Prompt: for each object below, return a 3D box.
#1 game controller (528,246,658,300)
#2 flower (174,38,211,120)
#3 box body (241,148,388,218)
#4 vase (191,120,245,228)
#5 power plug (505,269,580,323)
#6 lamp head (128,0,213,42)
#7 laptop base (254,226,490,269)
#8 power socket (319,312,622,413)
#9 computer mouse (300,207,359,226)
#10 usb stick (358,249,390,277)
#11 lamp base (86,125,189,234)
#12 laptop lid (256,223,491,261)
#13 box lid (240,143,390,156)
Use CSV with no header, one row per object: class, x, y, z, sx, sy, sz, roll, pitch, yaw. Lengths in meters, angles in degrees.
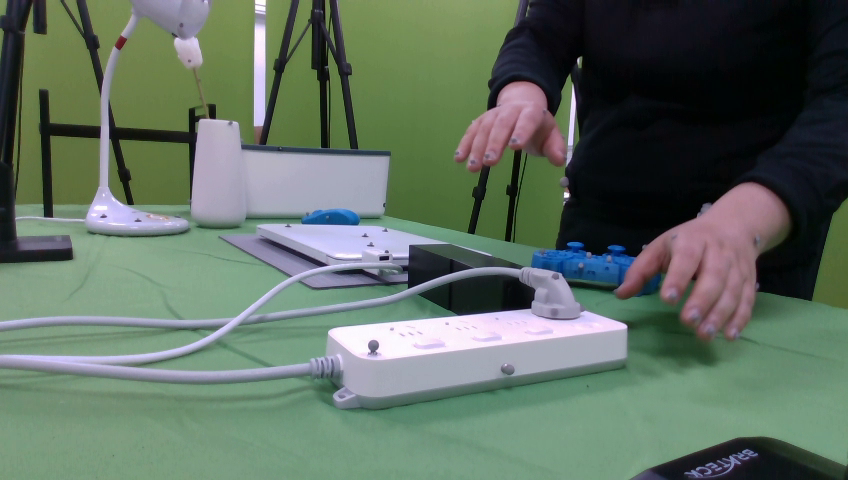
game controller,0.202,0.037,0.732,0.155,0.051,0.097,5,9,20
flower,-0.401,-0.207,1.141,0.038,0.361,0.044,-14,3,44
box body,-0.297,-0.143,1.474,0.366,0.160,0.253,-1,9,-30
vase,-0.389,-0.124,1.142,0.098,0.200,0.098,3,9,0
power plug,0.092,0.051,0.469,0.035,0.052,0.072,0,6,-16
lamp head,-0.423,-0.394,0.980,0.123,0.112,0.112,20,7,-3
laptop base,-0.096,0.011,0.911,0.237,0.023,0.352,3,6,-32
power socket,0.038,0.075,0.409,0.228,0.032,0.072,-2,8,-28
computer mouse,-0.194,-0.046,1.241,0.117,0.041,0.063,0,10,11
usb stick,-0.061,0.026,0.708,0.021,0.027,0.059,-7,8,-28
lamp base,-0.497,-0.105,1.027,0.179,0.180,0.160,1,7,2
laptop lid,-0.093,0.000,0.911,0.243,0.013,0.355,1,7,-30
box lid,-0.295,-0.217,1.463,0.373,0.015,0.262,-1,8,-30
